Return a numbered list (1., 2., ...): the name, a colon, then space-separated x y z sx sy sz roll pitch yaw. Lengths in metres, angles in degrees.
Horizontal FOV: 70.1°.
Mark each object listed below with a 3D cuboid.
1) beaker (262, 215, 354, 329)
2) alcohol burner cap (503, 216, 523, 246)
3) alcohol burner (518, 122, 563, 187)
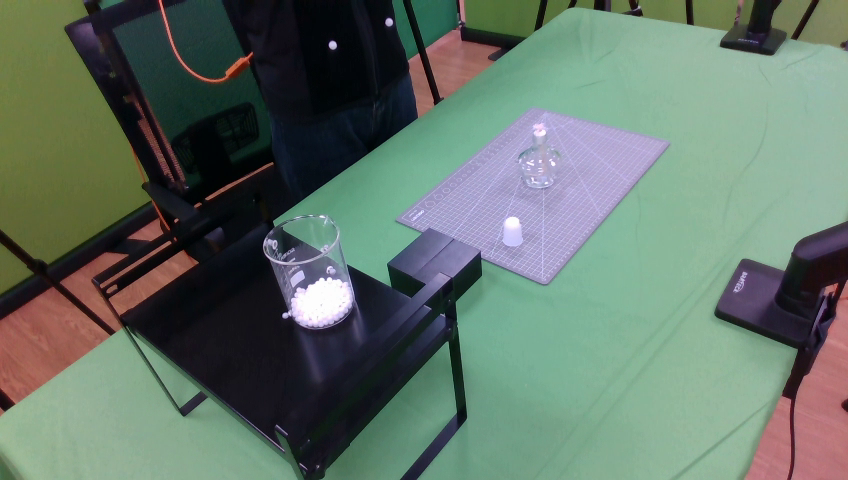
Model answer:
1. beaker: -0.112 0.034 0.616 0.073 0.101 0.084 13 44 23
2. alcohol burner cap: 0.140 -0.017 0.954 0.034 0.048 0.033 -4 42 4
3. alcohol burner: 0.201 -0.151 1.046 0.078 0.119 0.077 -6 42 5
